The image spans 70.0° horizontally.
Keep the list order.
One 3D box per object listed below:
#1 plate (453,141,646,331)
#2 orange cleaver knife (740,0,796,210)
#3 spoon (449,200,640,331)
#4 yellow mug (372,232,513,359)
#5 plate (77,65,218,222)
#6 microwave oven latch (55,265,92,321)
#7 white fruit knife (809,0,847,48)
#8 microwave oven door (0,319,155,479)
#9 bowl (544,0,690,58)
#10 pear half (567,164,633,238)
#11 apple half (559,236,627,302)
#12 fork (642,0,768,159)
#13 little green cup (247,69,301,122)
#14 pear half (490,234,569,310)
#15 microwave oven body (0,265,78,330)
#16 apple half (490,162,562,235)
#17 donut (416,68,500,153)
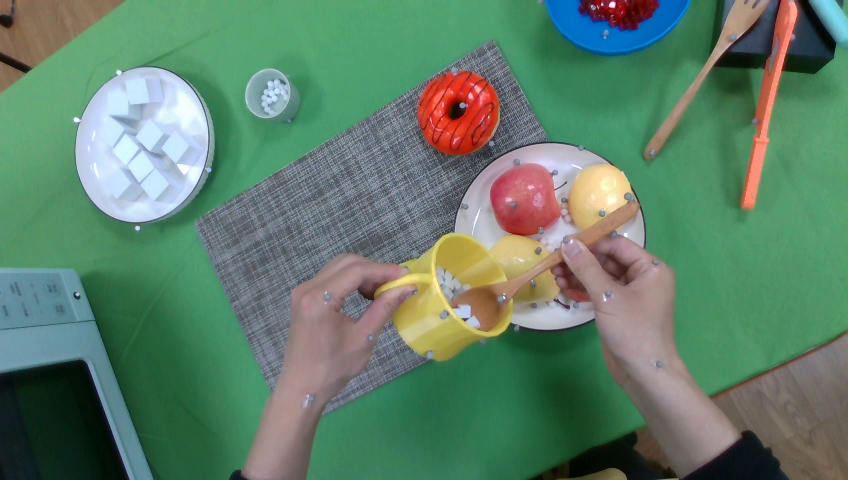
[{"bbox_3d":[0.137,-0.004,0.674,0.208,0.038,0.209,-1,88,14],"label":"plate"},{"bbox_3d":[0.343,-0.136,0.607,0.012,0.077,0.212,9,116,19],"label":"orange cleaver knife"},{"bbox_3d":[0.097,0.026,0.512,0.194,0.022,0.041,-36,75,23],"label":"spoon"},{"bbox_3d":[0.013,0.048,0.537,0.064,0.132,0.099,-34,59,39],"label":"yellow mug"},{"bbox_3d":[-0.363,-0.126,0.808,0.207,0.039,0.207,-1,88,14],"label":"plate"},{"bbox_3d":[-0.475,0.072,0.810,0.030,0.029,0.079,-23,83,12],"label":"microwave oven latch"},{"bbox_3d":[0.365,-0.273,0.589,0.027,0.016,0.206,-22,80,-17],"label":"white fruit knife"},{"bbox_3d":[-0.414,0.267,0.683,0.039,0.245,0.354,-26,82,12],"label":"microwave oven door"},{"bbox_3d":[0.204,-0.261,0.648,0.151,0.077,0.151,0,89,14],"label":"bowl"},{"bbox_3d":[0.184,-0.037,0.648,0.070,0.031,0.088,4,100,37],"label":"pear half"},{"bbox_3d":[0.173,0.031,0.646,0.081,0.033,0.081,5,98,36],"label":"apple half"},{"bbox_3d":[0.285,-0.171,0.620,0.028,0.018,0.208,30,116,5],"label":"fork"},{"bbox_3d":[-0.187,-0.179,0.765,0.061,0.039,0.061,-1,88,15],"label":"little green cup"},{"bbox_3d":[0.116,0.042,0.663,0.109,0.056,0.076,35,101,7],"label":"pear half"},{"bbox_3d":[-0.558,0.291,0.724,0.326,0.261,0.440,-26,83,11],"label":"microwave oven body"},{"bbox_3d":[0.110,-0.045,0.664,0.074,0.053,0.080,-11,89,14],"label":"apple half"},{"bbox_3d":[0.039,-0.149,0.700,0.099,0.048,0.099,0,90,17],"label":"donut"}]
